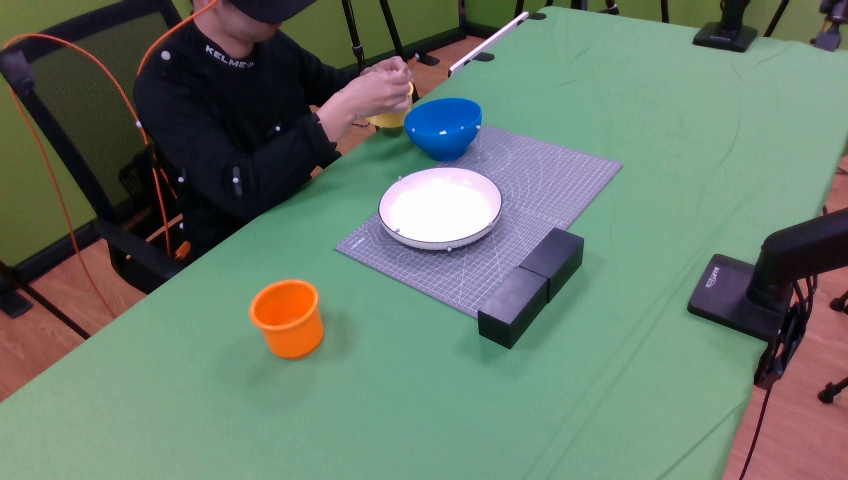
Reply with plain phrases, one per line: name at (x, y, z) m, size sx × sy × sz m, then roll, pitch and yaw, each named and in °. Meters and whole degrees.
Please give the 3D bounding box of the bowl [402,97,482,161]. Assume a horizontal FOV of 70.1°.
bowl at (0.040, -0.203, 1.155) m, size 0.151 × 0.077 × 0.150 m, roll -7°, pitch 38°, yaw 6°

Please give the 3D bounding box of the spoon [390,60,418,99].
spoon at (-0.048, -0.296, 1.163) m, size 0.021 × 0.193 × 0.042 m, roll 47°, pitch 68°, yaw -1°

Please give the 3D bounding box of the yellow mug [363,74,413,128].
yellow mug at (-0.071, -0.293, 1.233) m, size 0.100 × 0.064 × 0.130 m, roll 12°, pitch 44°, yaw 5°

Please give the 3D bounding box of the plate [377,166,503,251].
plate at (0.027, -0.050, 1.007) m, size 0.209 × 0.038 × 0.208 m, roll -4°, pitch 41°, yaw 4°
